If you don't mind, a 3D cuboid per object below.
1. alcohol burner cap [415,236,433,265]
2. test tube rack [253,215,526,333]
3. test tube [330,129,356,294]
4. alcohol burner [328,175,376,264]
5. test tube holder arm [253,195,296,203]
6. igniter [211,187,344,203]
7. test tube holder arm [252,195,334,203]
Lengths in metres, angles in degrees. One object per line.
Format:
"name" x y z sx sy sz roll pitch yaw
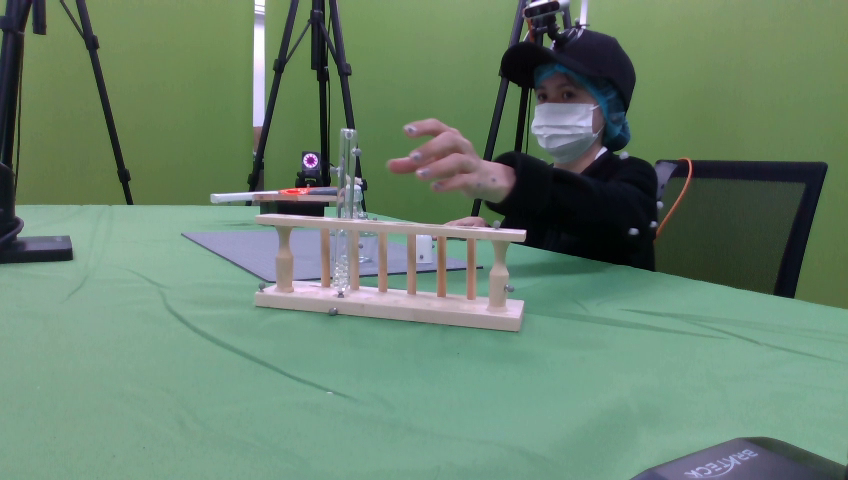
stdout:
"alcohol burner cap" -0.004 0.011 0.835 0.034 0.048 0.034 2 7 0
"test tube rack" -0.030 0.025 0.557 0.242 0.085 0.067 4 7 12
"test tube" -0.074 -0.025 0.548 0.017 0.150 0.017 4 6 0
"alcohol burner" -0.098 -0.028 0.819 0.078 0.119 0.078 1 8 0
"test tube holder arm" -0.294 -0.081 1.194 0.088 0.015 0.010 -4 10 -38
"igniter" -0.299 -0.094 1.266 0.278 0.025 0.057 -6 12 -34
"test tube holder arm" -0.262 -0.085 1.228 0.179 0.015 0.013 -5 10 -40
